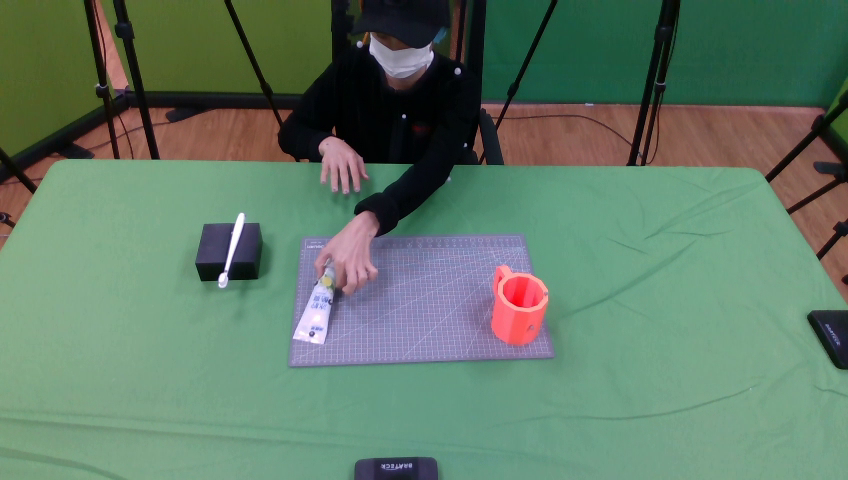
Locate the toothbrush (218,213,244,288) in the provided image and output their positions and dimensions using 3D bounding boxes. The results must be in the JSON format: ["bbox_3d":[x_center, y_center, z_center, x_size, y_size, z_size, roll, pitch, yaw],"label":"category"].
[{"bbox_3d":[-0.347,0.013,1.094,0.014,0.017,0.180,-1,46,0],"label":"toothbrush"}]

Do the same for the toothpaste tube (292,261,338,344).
[{"bbox_3d":[-0.185,0.105,1.069,0.055,0.035,0.164,6,55,7],"label":"toothpaste tube"}]

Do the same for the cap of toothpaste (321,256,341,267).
[{"bbox_3d":[-0.170,0.042,1.113,0.037,0.037,0.011,7,55,3],"label":"cap of toothpaste"}]

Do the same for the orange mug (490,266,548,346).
[{"bbox_3d":[0.155,0.107,1.051,0.083,0.101,0.125,-15,53,-18],"label":"orange mug"}]
